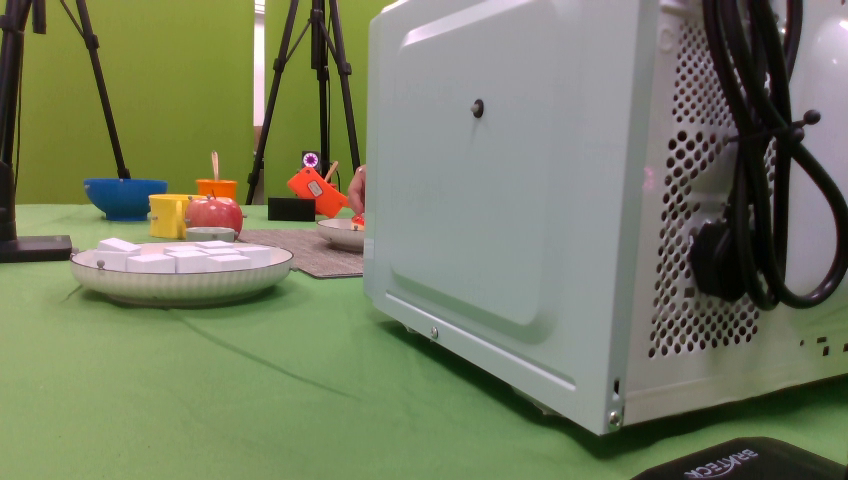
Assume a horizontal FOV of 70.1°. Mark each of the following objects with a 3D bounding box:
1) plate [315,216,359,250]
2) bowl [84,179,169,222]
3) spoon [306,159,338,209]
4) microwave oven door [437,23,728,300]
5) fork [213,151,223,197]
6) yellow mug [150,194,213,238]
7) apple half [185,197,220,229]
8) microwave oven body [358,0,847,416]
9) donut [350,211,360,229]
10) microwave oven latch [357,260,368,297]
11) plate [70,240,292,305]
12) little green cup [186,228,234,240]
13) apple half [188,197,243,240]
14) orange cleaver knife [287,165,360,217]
[{"bbox_3d":[-0.068,-0.010,0.963,0.209,0.038,0.209,3,7,0],"label":"plate"},{"bbox_3d":[-0.584,-0.078,1.194,0.151,0.077,0.151,3,8,0],"label":"bowl"},{"bbox_3d":[-0.257,-0.147,1.567,0.041,0.022,0.193,1,51,20],"label":"spoon"},{"bbox_3d":[0.181,-0.072,0.621,0.358,0.243,0.039,-2,8,-29],"label":"microwave oven door"},{"bbox_3d":[-0.494,-0.143,1.442,0.028,0.018,0.206,-2,52,-20],"label":"fork"},{"bbox_3d":[-0.401,-0.040,1.003,0.100,0.064,0.130,-1,9,-20],"label":"yellow mug"},{"bbox_3d":[-0.338,-0.031,0.927,0.032,0.081,0.081,12,12,31],"label":"apple half"},{"bbox_3d":[0.211,-0.047,0.475,0.444,0.260,0.324,-1,7,-28],"label":"microwave oven body"},{"bbox_3d":[-0.070,-0.022,0.964,0.099,0.048,0.099,5,7,0],"label":"donut"},{"bbox_3d":[-0.019,0.033,0.531,0.079,0.029,0.030,-1,7,-27],"label":"microwave oven latch"},{"bbox_3d":[-0.242,0.031,0.618,0.208,0.039,0.207,2,8,0],"label":"plate"},{"bbox_3d":[-0.284,0.005,0.805,0.061,0.038,0.061,2,8,0],"label":"little green cup"},{"bbox_3d":[-0.305,-0.026,0.907,0.053,0.074,0.081,12,8,31],"label":"apple half"},{"bbox_3d":[-0.210,-0.093,1.382,0.212,0.077,0.012,33,1,-15],"label":"orange cleaver knife"}]
